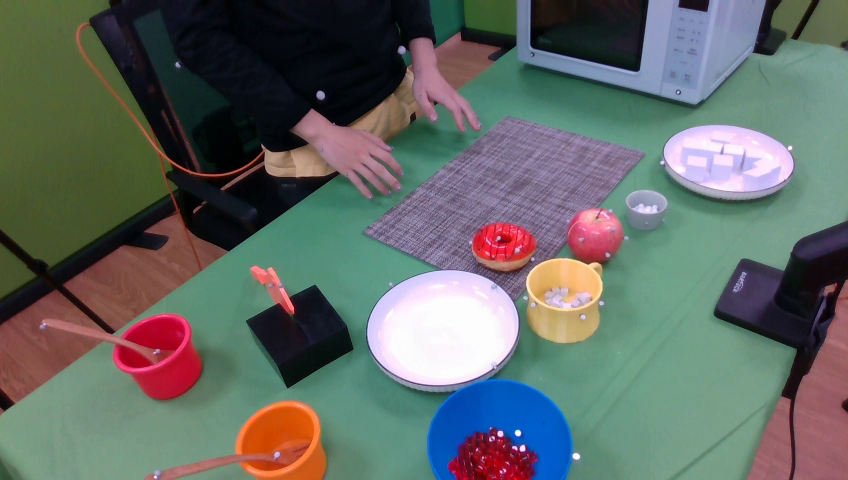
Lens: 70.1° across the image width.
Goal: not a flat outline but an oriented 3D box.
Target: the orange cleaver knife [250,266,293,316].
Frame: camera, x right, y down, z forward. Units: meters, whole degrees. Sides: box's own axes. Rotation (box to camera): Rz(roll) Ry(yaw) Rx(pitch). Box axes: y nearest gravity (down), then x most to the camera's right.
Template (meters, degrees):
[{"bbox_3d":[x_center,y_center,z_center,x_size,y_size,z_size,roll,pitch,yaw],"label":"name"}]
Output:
[{"bbox_3d":[-0.221,0.071,0.873,0.012,0.077,0.210,-26,11,-21],"label":"orange cleaver knife"}]

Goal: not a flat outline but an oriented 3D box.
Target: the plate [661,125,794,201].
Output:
[{"bbox_3d":[0.513,-0.128,1.035,0.207,0.039,0.206,-4,40,4],"label":"plate"}]

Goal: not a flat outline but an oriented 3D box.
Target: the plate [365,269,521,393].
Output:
[{"bbox_3d":[0.027,0.123,0.813,0.209,0.038,0.208,-4,40,4],"label":"plate"}]

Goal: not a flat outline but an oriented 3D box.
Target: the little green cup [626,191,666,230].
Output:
[{"bbox_3d":[0.352,-0.046,0.963,0.061,0.039,0.061,-4,40,4],"label":"little green cup"}]

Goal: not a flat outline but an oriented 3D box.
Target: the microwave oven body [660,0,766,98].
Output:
[{"bbox_3d":[0.472,-0.513,1.317,0.438,0.261,0.327,26,51,34],"label":"microwave oven body"}]

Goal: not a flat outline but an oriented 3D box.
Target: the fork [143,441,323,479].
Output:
[{"bbox_3d":[-0.189,0.231,0.631,0.028,0.018,0.209,36,13,37],"label":"fork"}]

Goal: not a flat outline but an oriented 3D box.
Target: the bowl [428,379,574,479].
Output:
[{"bbox_3d":[0.082,0.233,0.644,0.151,0.077,0.150,-4,40,4],"label":"bowl"}]

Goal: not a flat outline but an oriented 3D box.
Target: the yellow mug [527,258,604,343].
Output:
[{"bbox_3d":[0.201,0.073,0.825,0.131,0.064,0.099,-32,46,-27],"label":"yellow mug"}]

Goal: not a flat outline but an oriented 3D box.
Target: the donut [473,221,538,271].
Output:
[{"bbox_3d":[0.124,0.008,0.923,0.099,0.048,0.098,-4,38,3],"label":"donut"}]

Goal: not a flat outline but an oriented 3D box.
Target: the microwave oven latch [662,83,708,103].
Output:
[{"bbox_3d":[0.517,-0.296,1.204,0.078,0.029,0.030,27,52,35],"label":"microwave oven latch"}]

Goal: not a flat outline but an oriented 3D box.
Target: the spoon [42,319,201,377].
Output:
[{"bbox_3d":[-0.385,0.135,0.779,0.195,0.021,0.041,29,37,-26],"label":"spoon"}]

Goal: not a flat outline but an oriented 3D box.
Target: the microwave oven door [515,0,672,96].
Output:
[{"bbox_3d":[0.343,-0.454,1.259,0.353,0.245,0.039,26,51,33],"label":"microwave oven door"}]

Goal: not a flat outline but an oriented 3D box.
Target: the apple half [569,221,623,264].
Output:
[{"bbox_3d":[0.251,0.010,0.884,0.081,0.081,0.032,3,37,12],"label":"apple half"}]

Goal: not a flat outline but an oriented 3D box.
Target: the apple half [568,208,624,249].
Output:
[{"bbox_3d":[0.259,-0.014,0.914,0.080,0.075,0.053,0,36,15],"label":"apple half"}]
